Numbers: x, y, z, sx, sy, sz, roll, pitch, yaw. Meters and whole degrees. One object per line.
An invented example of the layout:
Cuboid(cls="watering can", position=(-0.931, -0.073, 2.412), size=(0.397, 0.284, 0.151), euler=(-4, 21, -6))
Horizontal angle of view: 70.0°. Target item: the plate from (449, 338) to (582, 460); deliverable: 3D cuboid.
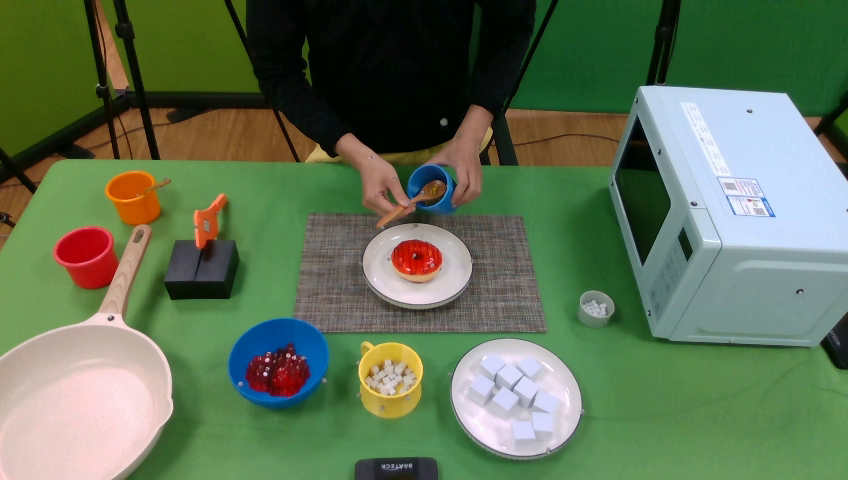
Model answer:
Cuboid(cls="plate", position=(0.141, 0.251, 0.955), size=(0.208, 0.039, 0.206), euler=(2, 46, -2))

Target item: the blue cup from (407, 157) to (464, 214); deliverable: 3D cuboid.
Cuboid(cls="blue cup", position=(0.030, -0.092, 1.139), size=(0.092, 0.101, 0.092), euler=(-8, 72, 25))

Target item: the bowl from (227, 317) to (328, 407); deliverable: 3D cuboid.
Cuboid(cls="bowl", position=(-0.222, 0.203, 0.947), size=(0.151, 0.077, 0.150), euler=(2, 46, -2))

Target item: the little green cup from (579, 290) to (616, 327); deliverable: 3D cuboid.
Cuboid(cls="little green cup", position=(0.308, 0.124, 1.086), size=(0.061, 0.039, 0.061), euler=(1, 45, -1))

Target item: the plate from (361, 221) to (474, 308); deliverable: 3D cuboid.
Cuboid(cls="plate", position=(-0.011, 0.049, 1.130), size=(0.209, 0.038, 0.208), euler=(2, 46, -2))

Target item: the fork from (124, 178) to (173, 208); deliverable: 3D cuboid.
Cuboid(cls="fork", position=(-0.525, -0.090, 1.153), size=(0.207, 0.019, 0.028), euler=(-17, 27, 45))

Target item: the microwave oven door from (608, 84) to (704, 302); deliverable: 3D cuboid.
Cuboid(cls="microwave oven door", position=(0.424, -0.096, 1.138), size=(0.039, 0.245, 0.353), euler=(2, 47, -1))

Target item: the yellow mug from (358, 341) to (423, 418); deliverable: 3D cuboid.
Cuboid(cls="yellow mug", position=(-0.063, 0.210, 0.961), size=(0.100, 0.064, 0.130), euler=(-29, 54, -27))

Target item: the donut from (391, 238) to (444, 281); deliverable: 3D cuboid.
Cuboid(cls="donut", position=(-0.012, 0.035, 1.128), size=(0.099, 0.048, 0.098), euler=(3, 43, -3))

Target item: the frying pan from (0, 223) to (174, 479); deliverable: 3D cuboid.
Cuboid(cls="frying pan", position=(-0.505, 0.169, 0.941), size=(0.307, 0.103, 0.485), euler=(5, 54, -1))

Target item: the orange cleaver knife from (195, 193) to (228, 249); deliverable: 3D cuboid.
Cuboid(cls="orange cleaver knife", position=(-0.406, -0.041, 1.163), size=(0.012, 0.077, 0.210), euler=(0, 18, -3))

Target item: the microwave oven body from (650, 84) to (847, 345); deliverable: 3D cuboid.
Cuboid(cls="microwave oven body", position=(0.569, -0.054, 1.115), size=(0.326, 0.261, 0.439), euler=(2, 46, -1))

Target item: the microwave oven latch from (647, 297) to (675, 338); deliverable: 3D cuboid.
Cuboid(cls="microwave oven latch", position=(0.413, 0.133, 1.060), size=(0.030, 0.029, 0.078), euler=(5, 46, 2))

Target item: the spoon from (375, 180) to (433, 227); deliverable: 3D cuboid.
Cuboid(cls="spoon", position=(-0.025, -0.067, 1.070), size=(0.041, 0.022, 0.193), euler=(30, 38, 23))
